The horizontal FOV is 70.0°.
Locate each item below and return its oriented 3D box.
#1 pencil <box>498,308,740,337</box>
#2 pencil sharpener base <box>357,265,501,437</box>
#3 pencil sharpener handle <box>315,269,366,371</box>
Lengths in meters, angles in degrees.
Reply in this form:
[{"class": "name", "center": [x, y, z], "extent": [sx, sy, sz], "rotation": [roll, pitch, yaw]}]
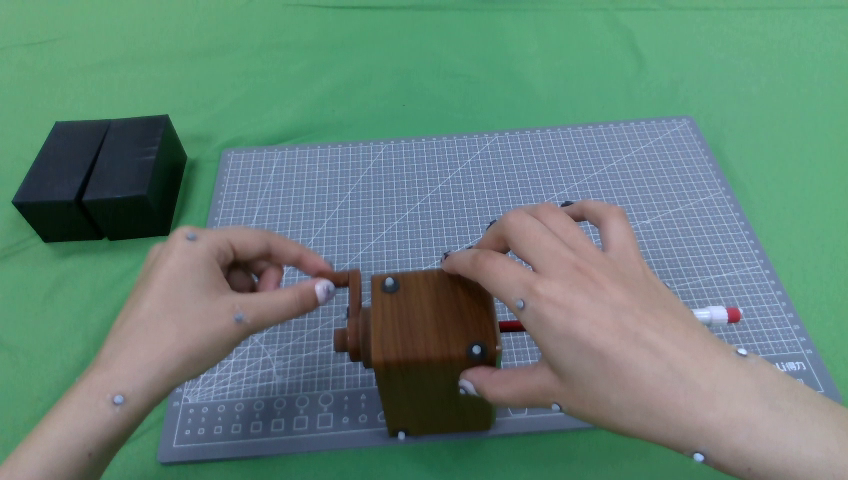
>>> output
[{"class": "pencil", "center": [0.089, 0.050, 0.354], "extent": [0.194, 0.012, 0.012], "rotation": [-3, 50, -2]}, {"class": "pencil sharpener base", "center": [0.003, 0.072, 0.371], "extent": [0.077, 0.108, 0.060], "rotation": [-5, 51, -1]}, {"class": "pencil sharpener handle", "center": [-0.050, 0.046, 0.358], "extent": [0.030, 0.036, 0.067], "rotation": [-5, 51, -1]}]
